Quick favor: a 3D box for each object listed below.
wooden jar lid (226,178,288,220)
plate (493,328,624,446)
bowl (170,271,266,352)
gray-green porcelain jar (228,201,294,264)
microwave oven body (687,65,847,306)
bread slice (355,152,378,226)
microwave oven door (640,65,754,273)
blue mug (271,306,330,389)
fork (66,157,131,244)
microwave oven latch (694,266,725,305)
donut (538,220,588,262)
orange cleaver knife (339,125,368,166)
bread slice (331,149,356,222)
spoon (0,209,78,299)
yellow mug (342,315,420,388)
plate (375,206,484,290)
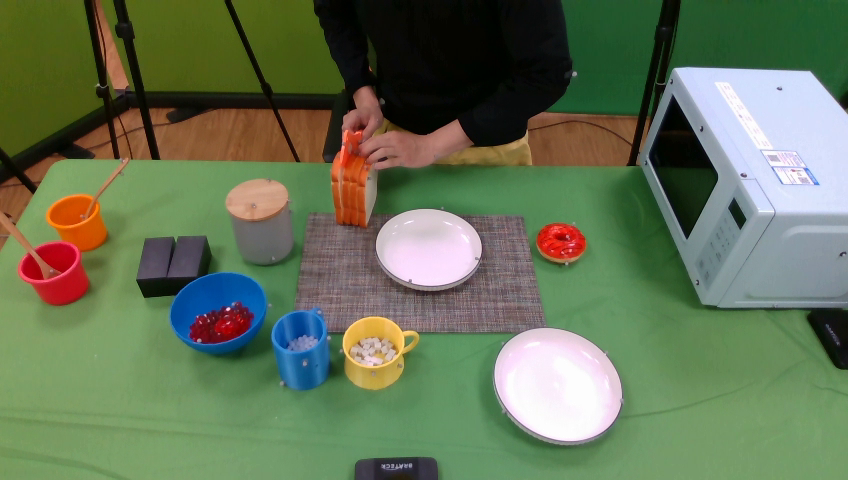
[{"bbox_3d":[-0.296,-0.070,1.081,0.108,0.021,0.107,1,45,0],"label":"wooden jar lid"},{"bbox_3d":[0.213,0.236,0.974,0.208,0.039,0.206,2,46,-2],"label":"plate"},{"bbox_3d":[-0.333,0.132,1.006,0.151,0.077,0.150,2,46,-2],"label":"bowl"},{"bbox_3d":[-0.299,-0.027,1.126,0.106,0.127,0.105,2,46,-2],"label":"gray-green porcelain jar"},{"bbox_3d":[0.669,-0.111,1.176,0.326,0.261,0.439,0,46,-3],"label":"microwave oven body"},{"bbox_3d":[-0.115,-0.107,1.213,0.018,0.135,0.106,12,48,3],"label":"bread slice"},{"bbox_3d":[0.523,-0.147,1.193,0.039,0.245,0.353,0,47,-3],"label":"microwave oven door"},{"bbox_3d":[-0.188,0.163,0.969,0.082,0.106,0.116,15,47,10],"label":"blue mug"},{"bbox_3d":[-0.608,-0.074,1.132,0.207,0.019,0.028,-52,48,10],"label":"fork"},{"bbox_3d":[0.523,0.082,1.115,0.030,0.029,0.078,3,46,0],"label":"microwave oven latch"},{"bbox_3d":[0.273,0.000,1.198,0.099,0.048,0.098,1,47,0],"label":"donut"},{"bbox_3d":[-0.141,-0.194,1.221,0.012,0.077,0.211,10,17,4],"label":"orange cleaver knife"},{"bbox_3d":[-0.162,-0.118,1.218,0.019,0.132,0.104,4,41,8],"label":"bread slice"},{"bbox_3d":[-0.668,0.021,1.040,0.041,0.021,0.194,-41,105,-30],"label":"spoon"},{"bbox_3d":[-0.068,0.177,0.990,0.131,0.064,0.099,-15,50,-19],"label":"yellow mug"},{"bbox_3d":[0.009,0.019,1.160,0.209,0.038,0.208,2,47,-2],"label":"plate"}]
